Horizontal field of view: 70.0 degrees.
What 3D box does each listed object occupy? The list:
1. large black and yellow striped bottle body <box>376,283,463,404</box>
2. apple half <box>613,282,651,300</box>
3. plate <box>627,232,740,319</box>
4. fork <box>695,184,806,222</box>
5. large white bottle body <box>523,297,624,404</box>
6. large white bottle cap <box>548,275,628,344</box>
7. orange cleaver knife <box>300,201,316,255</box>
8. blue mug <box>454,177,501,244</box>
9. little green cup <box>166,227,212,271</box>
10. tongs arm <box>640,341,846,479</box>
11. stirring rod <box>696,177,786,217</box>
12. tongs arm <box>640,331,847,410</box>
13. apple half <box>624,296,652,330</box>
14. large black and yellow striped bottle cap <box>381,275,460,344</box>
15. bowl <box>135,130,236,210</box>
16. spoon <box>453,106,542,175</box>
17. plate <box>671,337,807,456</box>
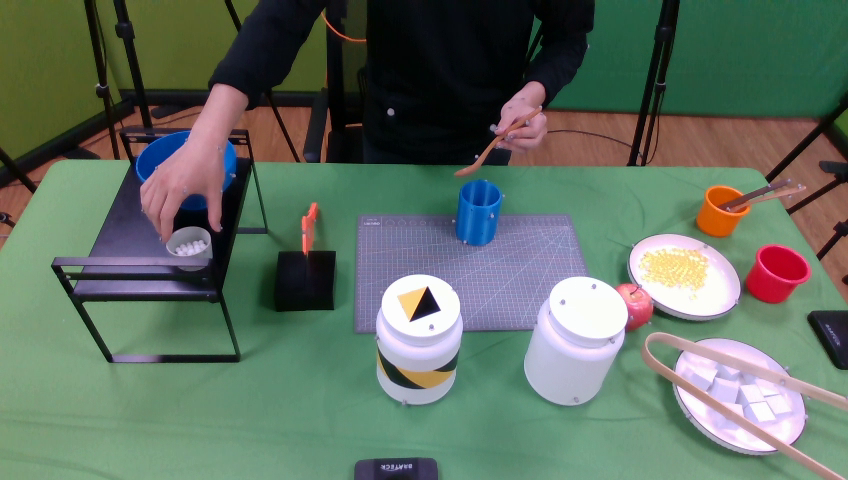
[{"bbox_3d":[-0.010,0.155,0.937,0.131,0.185,0.130,2,47,-2],"label":"large black and yellow striped bottle body"},{"bbox_3d":[0.356,0.109,1.086,0.081,0.075,0.053,-13,44,-12],"label":"apple half"},{"bbox_3d":[0.489,0.070,1.157,0.209,0.038,0.208,3,46,-3],"label":"plate"},{"bbox_3d":[0.658,-0.074,1.230,0.207,0.019,0.028,-24,34,36],"label":"fork"},{"bbox_3d":[0.235,0.159,0.952,0.131,0.185,0.130,2,47,-2],"label":"large white bottle body"},{"bbox_3d":[0.240,0.100,0.890,0.115,0.018,0.114,3,47,-3],"label":"large white bottle cap"},{"bbox_3d":[-0.221,-0.027,1.160,0.012,0.077,0.210,-2,15,-4],"label":"orange cleaver knife"},{"bbox_3d":[0.106,-0.067,1.208,0.082,0.106,0.116,6,46,1],"label":"blue mug"},{"bbox_3d":[-0.344,0.014,0.895,0.061,0.039,0.061,3,46,-3],"label":"little green cup"},{"bbox_3d":[0.500,0.278,0.920,0.386,0.028,0.028,34,60,22],"label":"tongs arm"},{"bbox_3d":[0.648,-0.087,1.244,0.176,0.006,0.014,-25,50,29],"label":"stirring rod"},{"bbox_3d":[0.543,0.226,0.969,0.384,0.026,0.050,22,53,13],"label":"tongs arm"},{"bbox_3d":[0.368,0.135,1.060,0.081,0.081,0.032,-11,43,-15],"label":"apple half"},{"bbox_3d":[-0.005,0.098,0.875,0.115,0.019,0.114,2,45,-2],"label":"large black and yellow striped bottle cap"},{"bbox_3d":[-0.375,-0.102,0.978,0.151,0.077,0.150,2,47,-2],"label":"bowl"},{"bbox_3d":[0.120,-0.164,1.018,0.021,0.194,0.041,49,34,0],"label":"spoon"},{"bbox_3d":[0.504,0.254,0.984,0.208,0.039,0.206,2,46,-2],"label":"plate"}]
